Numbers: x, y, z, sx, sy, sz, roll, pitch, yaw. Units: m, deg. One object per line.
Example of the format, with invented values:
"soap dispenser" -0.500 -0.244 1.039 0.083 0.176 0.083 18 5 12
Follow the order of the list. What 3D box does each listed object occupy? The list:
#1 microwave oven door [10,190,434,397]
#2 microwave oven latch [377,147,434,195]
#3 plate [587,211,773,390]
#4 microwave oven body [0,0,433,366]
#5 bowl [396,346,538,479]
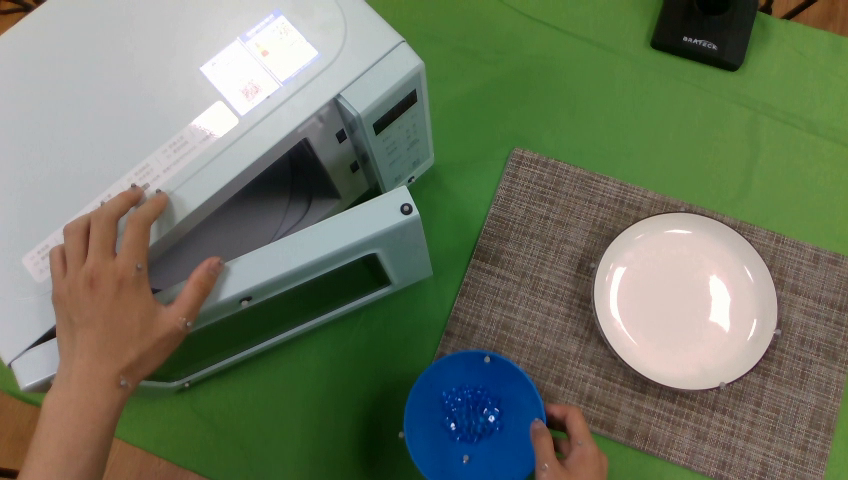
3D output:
"microwave oven door" -0.164 0.067 0.610 0.356 0.245 0.039 -24 74 -3
"microwave oven latch" -0.023 -0.092 0.749 0.079 0.029 0.030 -40 77 -7
"plate" 0.293 0.069 0.707 0.207 0.039 0.206 -1 76 2
"microwave oven body" -0.259 -0.105 0.664 0.441 0.261 0.324 -42 78 -7
"bowl" 0.049 0.197 0.671 0.151 0.077 0.150 -2 74 8
